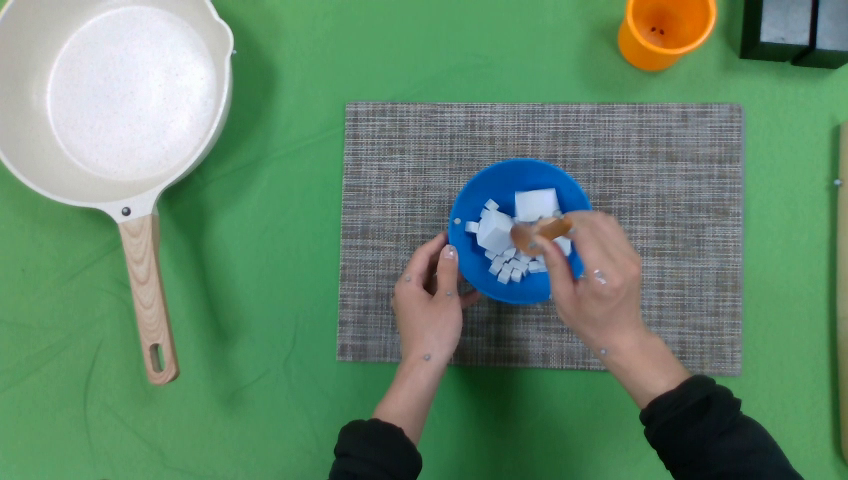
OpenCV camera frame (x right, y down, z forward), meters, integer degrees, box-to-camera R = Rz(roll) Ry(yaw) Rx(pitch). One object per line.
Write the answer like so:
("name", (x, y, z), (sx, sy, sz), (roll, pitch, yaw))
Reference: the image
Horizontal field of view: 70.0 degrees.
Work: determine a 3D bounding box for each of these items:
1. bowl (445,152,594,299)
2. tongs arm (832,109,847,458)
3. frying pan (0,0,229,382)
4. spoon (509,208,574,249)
("bowl", (0.100, -0.013, 0.651), (0.151, 0.077, 0.151), (0, 88, 4))
("tongs arm", (0.460, 0.051, 0.654), (0.028, 0.028, 0.387), (0, 88, 3))
("frying pan", (-0.332, -0.082, 0.675), (0.307, 0.103, 0.485), (-15, 78, 4))
("spoon", (0.102, -0.010, 0.536), (0.021, 0.194, 0.041), (-41, 89, -1))
